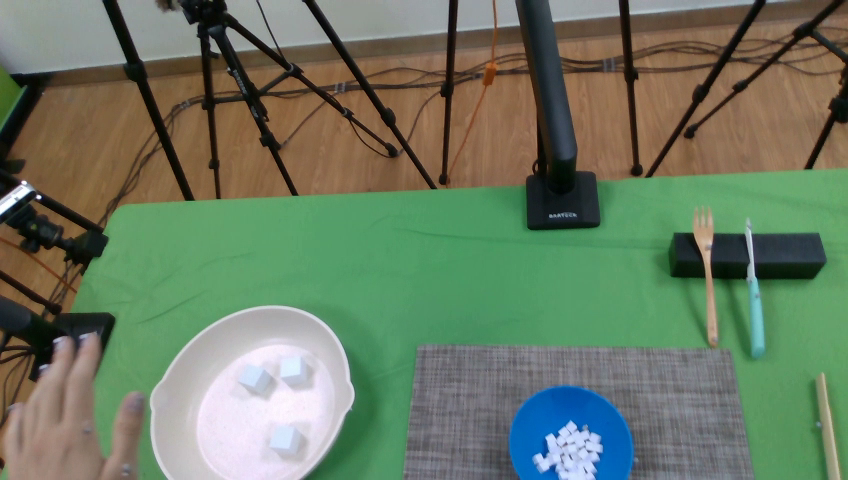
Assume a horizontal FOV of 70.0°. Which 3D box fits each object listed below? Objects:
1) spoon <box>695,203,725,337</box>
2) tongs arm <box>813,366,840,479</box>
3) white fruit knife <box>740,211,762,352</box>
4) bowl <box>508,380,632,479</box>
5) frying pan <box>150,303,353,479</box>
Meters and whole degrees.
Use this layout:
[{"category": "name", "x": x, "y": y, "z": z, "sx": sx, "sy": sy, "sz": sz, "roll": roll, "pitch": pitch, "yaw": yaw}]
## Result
[{"category": "spoon", "x": 0.409, "y": 0.042, "z": 0.876, "sx": 0.041, "sy": 0.022, "sz": 0.193, "roll": 0, "pitch": 76, "yaw": 37}, {"category": "tongs arm", "x": 0.499, "y": 0.332, "z": 0.708, "sx": 0.028, "sy": 0.028, "sz": 0.384, "roll": 3, "pitch": 58, "yaw": 11}, {"category": "white fruit knife", "x": 0.463, "y": 0.055, "z": 0.865, "sx": 0.016, "sy": 0.027, "sz": 0.206, "roll": 2, "pitch": 72, "yaw": 7}, {"category": "bowl", "x": 0.185, "y": 0.265, "z": 0.777, "sx": 0.151, "sy": 0.077, "sz": 0.150, "roll": -5, "pitch": 56, "yaw": 8}, {"category": "frying pan", "x": -0.255, "y": 0.313, "z": 0.820, "sx": 0.306, "sy": 0.104, "sz": 0.483, "roll": -1, "pitch": 48, "yaw": 11}]
